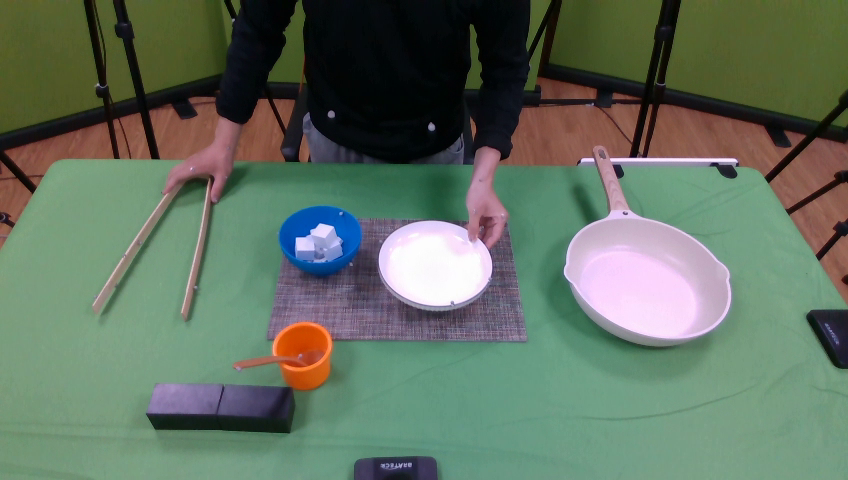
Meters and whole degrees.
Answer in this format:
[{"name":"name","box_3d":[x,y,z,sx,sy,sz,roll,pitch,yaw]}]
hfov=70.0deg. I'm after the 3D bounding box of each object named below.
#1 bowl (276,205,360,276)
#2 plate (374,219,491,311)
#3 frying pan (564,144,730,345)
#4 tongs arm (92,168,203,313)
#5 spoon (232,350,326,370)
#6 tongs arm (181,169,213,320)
[{"name":"bowl","box_3d":[-0.193,0.013,1.125,0.151,0.077,0.150,2,47,-2]},{"name":"plate","box_3d":[0.015,0.049,1.087,0.208,0.039,0.206,3,47,-3]},{"name":"frying pan","box_3d":[0.396,-0.008,1.179,0.307,0.103,0.484,0,55,-5]},{"name":"tongs arm","box_3d":[-0.517,-0.013,1.160,0.051,0.026,0.382,6,45,2]},{"name":"spoon","box_3d":[-0.216,0.182,0.919,0.041,0.194,0.021,43,102,27]},{"name":"tongs arm","box_3d":[-0.437,-0.006,1.165,0.028,0.028,0.385,-5,46,-5]}]
